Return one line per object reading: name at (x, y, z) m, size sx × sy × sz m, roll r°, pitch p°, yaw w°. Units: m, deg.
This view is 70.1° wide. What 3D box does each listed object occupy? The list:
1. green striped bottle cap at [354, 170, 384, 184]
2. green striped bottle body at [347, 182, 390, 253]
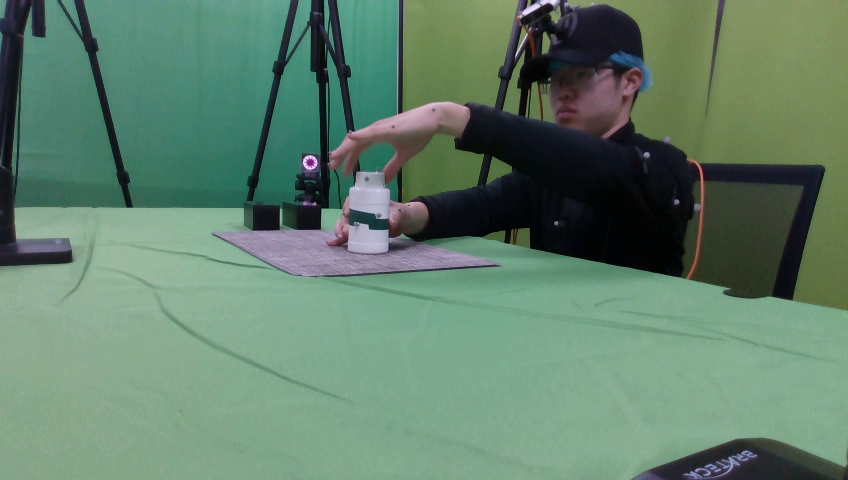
green striped bottle cap at (-0.082, -0.094, 0.905) m, size 0.044 × 0.020 × 0.044 m, roll 3°, pitch 6°, yaw 0°
green striped bottle body at (-0.083, -0.043, 0.913) m, size 0.063 × 0.119 × 0.063 m, roll 3°, pitch 8°, yaw 0°
